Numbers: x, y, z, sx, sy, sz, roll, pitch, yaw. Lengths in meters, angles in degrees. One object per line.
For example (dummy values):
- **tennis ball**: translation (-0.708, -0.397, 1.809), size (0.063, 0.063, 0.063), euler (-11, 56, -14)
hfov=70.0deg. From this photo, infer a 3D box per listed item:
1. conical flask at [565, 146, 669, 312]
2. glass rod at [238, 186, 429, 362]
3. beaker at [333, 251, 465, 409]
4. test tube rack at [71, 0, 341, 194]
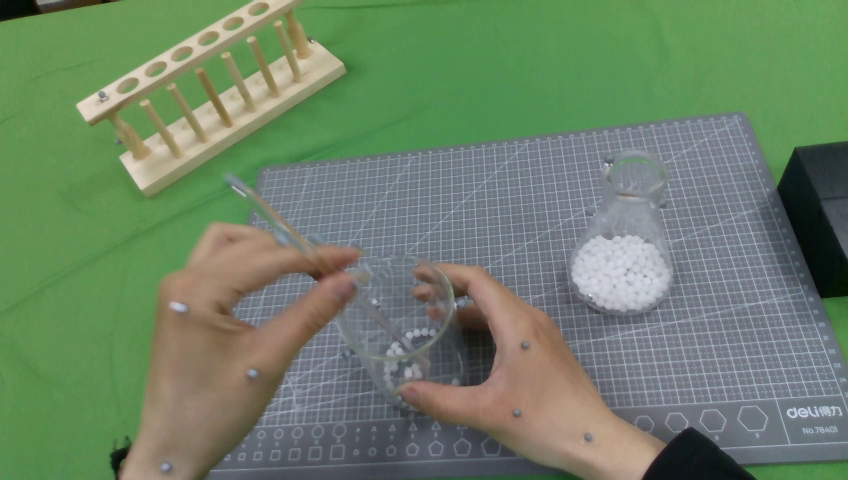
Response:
- **conical flask**: translation (0.135, -0.009, 0.412), size (0.075, 0.123, 0.074), euler (-5, 55, 8)
- **glass rod**: translation (-0.039, 0.030, 0.338), size (0.008, 0.202, 0.008), euler (-14, 53, 19)
- **beaker**: translation (-0.013, 0.063, 0.408), size (0.074, 0.101, 0.083), euler (-31, 55, -10)
- **test tube rack**: translation (-0.209, -0.158, 0.610), size (0.242, 0.086, 0.066), euler (-37, 57, -14)
